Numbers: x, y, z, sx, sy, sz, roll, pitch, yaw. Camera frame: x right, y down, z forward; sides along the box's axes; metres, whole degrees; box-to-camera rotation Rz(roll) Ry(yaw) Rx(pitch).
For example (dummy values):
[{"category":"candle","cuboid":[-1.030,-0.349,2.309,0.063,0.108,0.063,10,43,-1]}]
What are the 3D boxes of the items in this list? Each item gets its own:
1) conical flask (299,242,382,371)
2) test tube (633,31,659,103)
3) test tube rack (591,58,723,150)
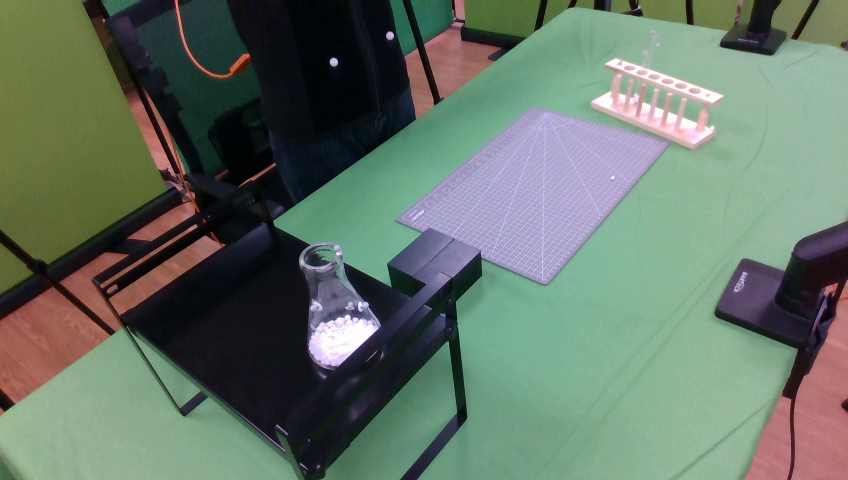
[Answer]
[{"category":"conical flask","cuboid":[-0.085,0.059,0.565,0.075,0.122,0.075,-5,41,4]},{"category":"test tube","cuboid":[0.427,-0.331,1.169,0.017,0.151,0.017,0,47,1]},{"category":"test tube rack","cuboid":[0.442,-0.269,1.171,0.067,0.085,0.240,-30,46,-24]}]
